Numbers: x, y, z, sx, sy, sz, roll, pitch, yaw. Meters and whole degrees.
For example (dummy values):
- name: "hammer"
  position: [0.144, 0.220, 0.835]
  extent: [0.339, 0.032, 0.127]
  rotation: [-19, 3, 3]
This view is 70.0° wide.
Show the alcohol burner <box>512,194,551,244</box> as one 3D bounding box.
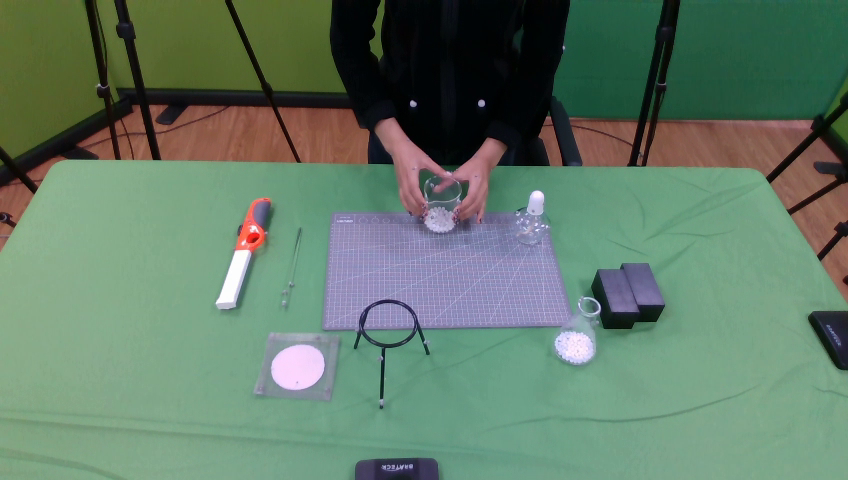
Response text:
- name: "alcohol burner"
  position: [0.215, -0.048, 1.196]
  extent: [0.078, 0.119, 0.077]
  rotation: [4, 46, -4]

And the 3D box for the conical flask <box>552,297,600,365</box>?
- name: "conical flask"
  position: [0.261, 0.147, 1.009]
  extent: [0.075, 0.122, 0.075]
  rotation: [2, 46, -2]

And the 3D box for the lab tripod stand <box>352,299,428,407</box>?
- name: "lab tripod stand"
  position: [-0.056, 0.166, 0.958]
  extent: [0.148, 0.132, 0.147]
  rotation: [3, 44, -2]

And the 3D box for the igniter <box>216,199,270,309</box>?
- name: "igniter"
  position: [-0.342, 0.016, 1.153]
  extent: [0.057, 0.025, 0.275]
  rotation: [-4, 45, 7]

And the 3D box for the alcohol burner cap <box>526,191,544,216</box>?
- name: "alcohol burner cap"
  position: [0.216, -0.073, 1.170]
  extent: [0.034, 0.048, 0.033]
  rotation: [0, 42, 0]

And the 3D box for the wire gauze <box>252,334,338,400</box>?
- name: "wire gauze"
  position: [-0.209, 0.204, 0.996]
  extent: [0.125, 0.011, 0.120]
  rotation: [3, 45, 1]

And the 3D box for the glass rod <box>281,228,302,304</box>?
- name: "glass rod"
  position: [-0.250, 0.045, 1.146]
  extent: [0.008, 0.008, 0.198]
  rotation: [3, 43, -1]

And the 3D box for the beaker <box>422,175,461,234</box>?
- name: "beaker"
  position: [0.031, -0.066, 1.200]
  extent: [0.073, 0.101, 0.084]
  rotation: [33, 56, 23]
